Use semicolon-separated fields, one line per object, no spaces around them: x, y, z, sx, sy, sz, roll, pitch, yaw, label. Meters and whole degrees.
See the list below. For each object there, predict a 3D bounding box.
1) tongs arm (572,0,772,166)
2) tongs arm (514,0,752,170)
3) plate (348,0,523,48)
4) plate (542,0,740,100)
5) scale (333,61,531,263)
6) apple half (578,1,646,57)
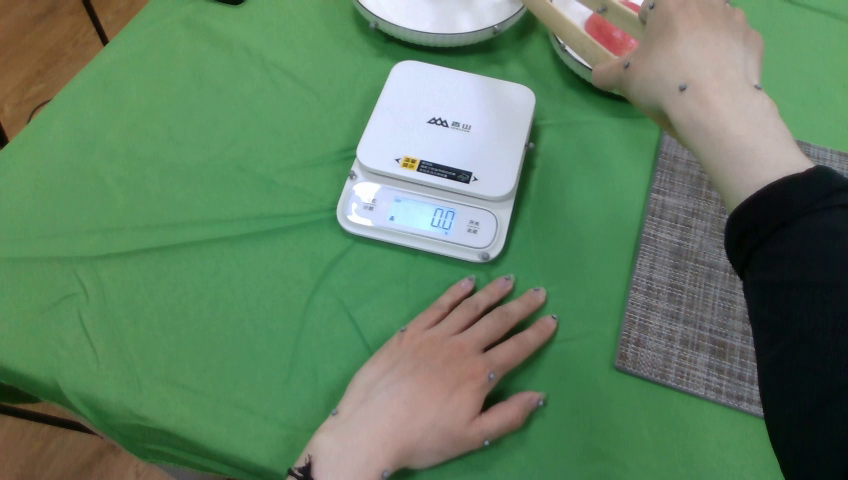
0.158;-0.186;0.531;0.051;0.027;0.380;-25;48;-10;tongs arm
0.137;-0.178;0.529;0.028;0.028;0.383;-20;48;-10;tongs arm
0.015;-0.284;0.685;0.208;0.039;0.205;1;57;-1;plate
0.229;-0.221;0.655;0.209;0.038;0.207;1;57;-2;plate
0.013;-0.079;0.556;0.148;0.032;0.199;13;58;6;scale
0.212;-0.236;0.657;0.081;0.033;0.080;1;54;0;apple half
